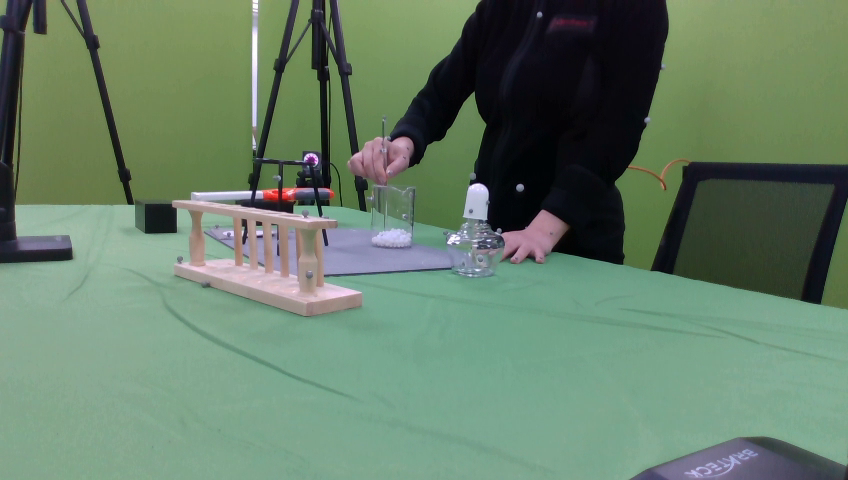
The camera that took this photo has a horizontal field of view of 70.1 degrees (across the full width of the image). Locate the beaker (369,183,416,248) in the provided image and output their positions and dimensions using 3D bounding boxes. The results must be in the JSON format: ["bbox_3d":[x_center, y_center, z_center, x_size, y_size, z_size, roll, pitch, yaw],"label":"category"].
[{"bbox_3d":[-0.050,-0.039,0.971,0.074,0.100,0.083,-1,9,-25],"label":"beaker"}]

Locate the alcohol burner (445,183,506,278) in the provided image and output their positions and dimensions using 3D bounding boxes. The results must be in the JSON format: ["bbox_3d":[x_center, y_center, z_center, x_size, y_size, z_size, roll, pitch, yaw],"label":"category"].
[{"bbox_3d":[0.066,-0.013,0.771,0.078,0.119,0.078,0,7,0],"label":"alcohol burner"}]

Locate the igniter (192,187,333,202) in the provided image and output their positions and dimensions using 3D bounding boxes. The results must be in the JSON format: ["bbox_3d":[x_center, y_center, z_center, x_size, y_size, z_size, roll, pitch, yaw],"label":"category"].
[{"bbox_3d":[-0.316,-0.090,1.213,0.278,0.025,0.057,-5,13,-31],"label":"igniter"}]

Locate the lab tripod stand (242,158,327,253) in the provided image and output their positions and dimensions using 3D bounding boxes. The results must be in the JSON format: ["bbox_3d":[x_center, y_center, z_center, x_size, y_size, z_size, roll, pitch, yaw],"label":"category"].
[{"bbox_3d":[-0.207,-0.054,0.895,0.148,0.131,0.148,3,5,0],"label":"lab tripod stand"}]

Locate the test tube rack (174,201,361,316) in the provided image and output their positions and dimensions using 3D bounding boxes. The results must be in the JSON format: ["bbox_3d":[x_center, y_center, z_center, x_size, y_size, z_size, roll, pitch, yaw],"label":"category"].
[{"bbox_3d":[-0.169,0.010,0.622,0.241,0.085,0.067,9,9,41],"label":"test tube rack"}]

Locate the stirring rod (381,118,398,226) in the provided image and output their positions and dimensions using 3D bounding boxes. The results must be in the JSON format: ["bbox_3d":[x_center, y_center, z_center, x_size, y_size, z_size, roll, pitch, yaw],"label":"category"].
[{"bbox_3d":[-0.056,-0.108,0.978,0.014,0.176,0.006,10,22,42],"label":"stirring rod"}]

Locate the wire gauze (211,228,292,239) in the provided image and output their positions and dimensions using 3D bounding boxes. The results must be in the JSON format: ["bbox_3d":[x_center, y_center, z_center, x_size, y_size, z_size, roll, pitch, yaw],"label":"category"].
[{"bbox_3d":[-0.298,-0.013,1.039,0.122,0.011,0.124,-2,6,-27],"label":"wire gauze"}]

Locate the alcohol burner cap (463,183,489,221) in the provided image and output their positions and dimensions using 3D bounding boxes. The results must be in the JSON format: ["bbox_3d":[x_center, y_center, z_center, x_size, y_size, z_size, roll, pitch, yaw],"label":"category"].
[{"bbox_3d":[0.067,-0.048,0.765,0.034,0.048,0.034,5,5,0],"label":"alcohol burner cap"}]
